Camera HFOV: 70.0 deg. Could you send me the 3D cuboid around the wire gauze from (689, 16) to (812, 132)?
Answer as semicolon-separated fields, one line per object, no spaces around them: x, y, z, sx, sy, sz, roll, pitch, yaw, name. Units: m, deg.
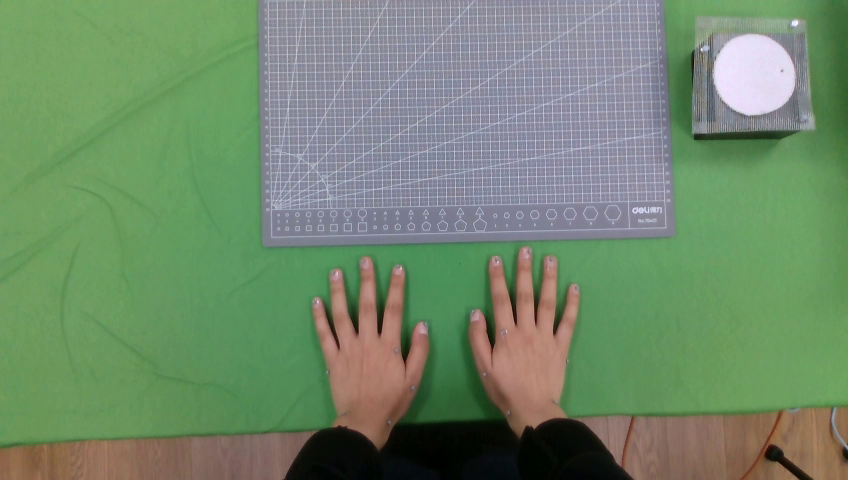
0.337;-0.172;0.627;0.121;0.011;0.125;2;86;1;wire gauze
